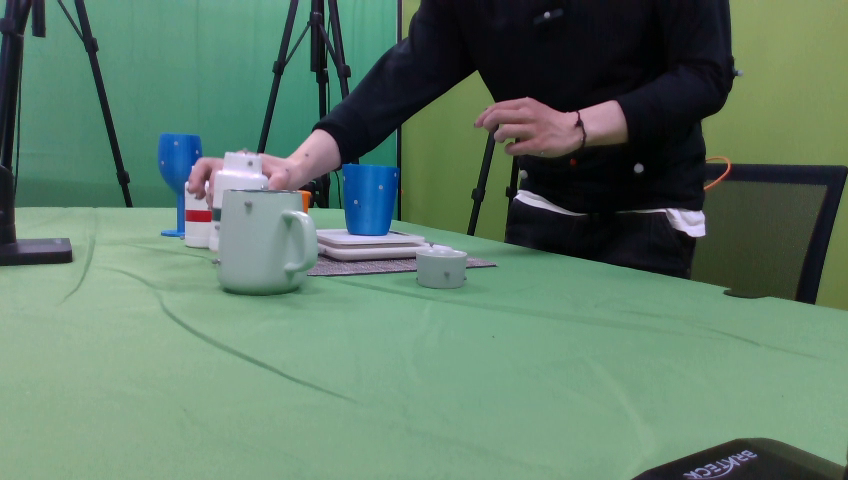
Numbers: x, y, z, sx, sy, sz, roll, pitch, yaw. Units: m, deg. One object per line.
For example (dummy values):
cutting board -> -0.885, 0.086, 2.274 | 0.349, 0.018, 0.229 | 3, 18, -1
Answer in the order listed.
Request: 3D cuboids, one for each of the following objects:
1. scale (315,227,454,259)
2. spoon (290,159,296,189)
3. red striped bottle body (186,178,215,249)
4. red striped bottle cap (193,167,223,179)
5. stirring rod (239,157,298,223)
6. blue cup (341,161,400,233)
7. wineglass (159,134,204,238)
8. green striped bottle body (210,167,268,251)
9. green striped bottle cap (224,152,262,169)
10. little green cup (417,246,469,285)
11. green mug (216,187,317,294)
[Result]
scale -> -0.067, 0.001, 0.906 | 0.202, 0.031, 0.148 | -2, 8, -31
spoon -> -0.273, -0.102, 1.252 | 0.042, 0.193, 0.021 | 7, -38, -17
red striped bottle body -> -0.331, -0.049, 0.927 | 0.063, 0.119, 0.063 | 2, 7, 0
red striped bottle cap -> -0.329, -0.103, 0.921 | 0.044, 0.017, 0.044 | -1, 9, 0
stirring rod -> -0.309, -0.098, 1.209 | 0.006, 0.177, 0.014 | -39, 29, -4
blue cup -> -0.080, -0.062, 0.883 | 0.093, 0.100, 0.092 | 3, 4, 0
wineglass -> -0.415, -0.093, 1.040 | 0.074, 0.172, 0.073 | 2, 7, 0
green striped bottle body -> -0.227, -0.046, 0.746 | 0.063, 0.119, 0.063 | 6, 6, 0
green striped bottle cap -> -0.221, -0.096, 0.740 | 0.044, 0.020, 0.044 | 2, 7, 0
little green cup -> 0.021, 0.029, 0.701 | 0.061, 0.038, 0.061 | 1, 6, 0
green mug -> -0.157, 0.000, 0.629 | 0.124, 0.105, 0.093 | 7, 8, 37
